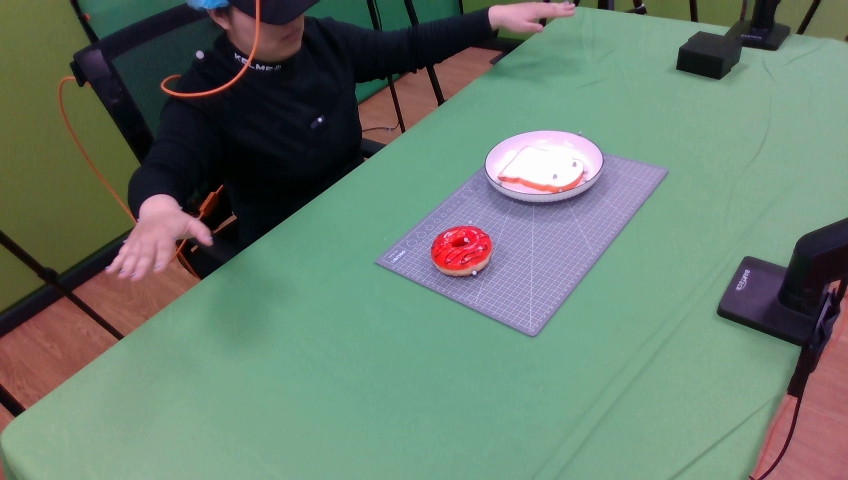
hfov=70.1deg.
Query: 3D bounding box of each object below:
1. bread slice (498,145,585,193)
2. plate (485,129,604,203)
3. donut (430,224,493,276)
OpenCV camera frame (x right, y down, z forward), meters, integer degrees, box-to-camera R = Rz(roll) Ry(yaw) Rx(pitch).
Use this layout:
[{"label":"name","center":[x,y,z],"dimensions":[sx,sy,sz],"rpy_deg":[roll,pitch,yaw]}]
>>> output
[{"label":"bread slice","center":[0.215,-0.125,1.076],"dimensions":[0.133,0.018,0.107],"rpy_deg":[16,48,28]},{"label":"plate","center":[0.213,-0.129,1.079],"dimensions":[0.209,0.038,0.208],"rpy_deg":[-5,40,5]},{"label":"donut","center":[0.057,0.014,0.934],"dimensions":[0.099,0.048,0.098],"rpy_deg":[-7,40,6]}]
